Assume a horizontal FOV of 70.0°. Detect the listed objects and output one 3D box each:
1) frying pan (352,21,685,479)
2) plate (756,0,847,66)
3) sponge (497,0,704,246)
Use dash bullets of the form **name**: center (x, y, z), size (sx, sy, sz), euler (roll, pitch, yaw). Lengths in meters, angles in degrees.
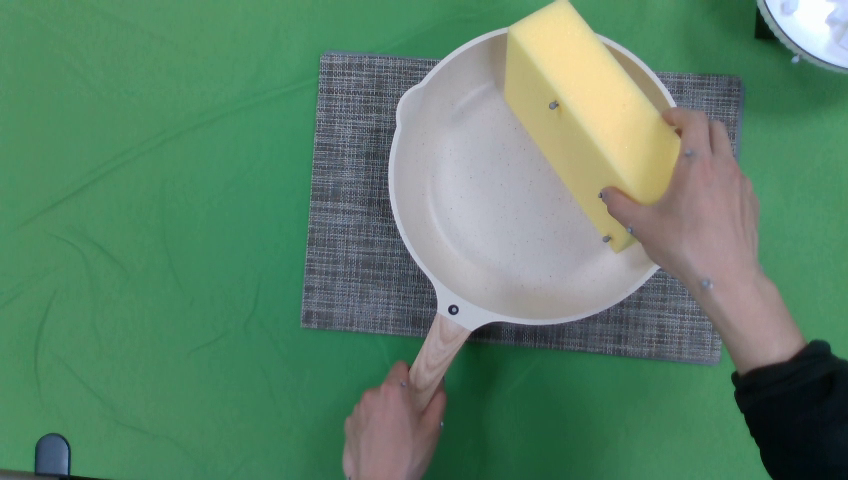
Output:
- **frying pan**: center (0.056, 0.020, 0.604), size (0.306, 0.103, 0.487), euler (30, 84, 4)
- **plate**: center (0.406, -0.264, 0.570), size (0.207, 0.039, 0.207), euler (0, 91, 2)
- **sponge**: center (0.150, -0.107, 0.560), size (0.061, 0.119, 0.205), euler (-31, 72, -5)
